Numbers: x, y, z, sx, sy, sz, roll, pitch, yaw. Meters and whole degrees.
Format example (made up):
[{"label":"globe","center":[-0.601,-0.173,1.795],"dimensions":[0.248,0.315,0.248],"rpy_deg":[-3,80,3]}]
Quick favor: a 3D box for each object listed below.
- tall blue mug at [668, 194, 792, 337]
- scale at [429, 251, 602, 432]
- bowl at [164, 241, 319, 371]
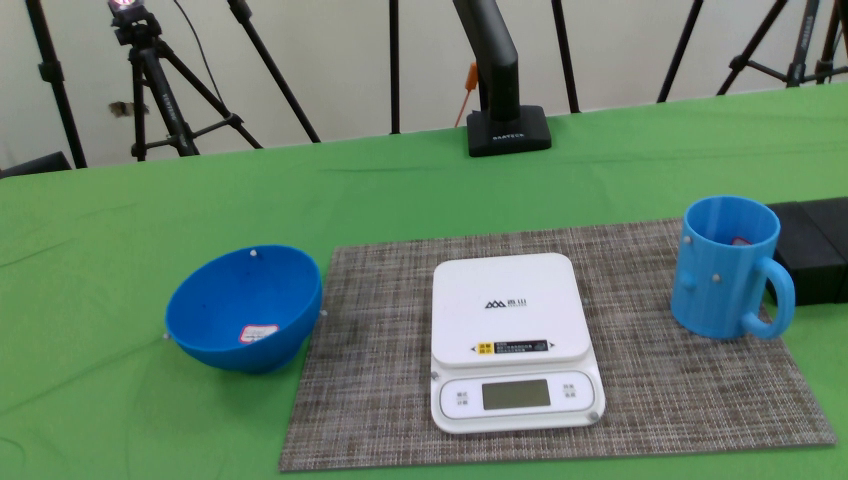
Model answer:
[{"label":"tall blue mug","center":[0.280,0.029,0.545],"dimensions":[0.106,0.109,0.077],"rpy_deg":[23,48,35]},{"label":"scale","center":[0.079,0.087,0.578],"dimensions":[0.148,0.032,0.199],"rpy_deg":[-6,38,6]},{"label":"bowl","center":[-0.172,0.079,0.611],"dimensions":[0.151,0.077,0.150],"rpy_deg":[-6,38,5]}]
